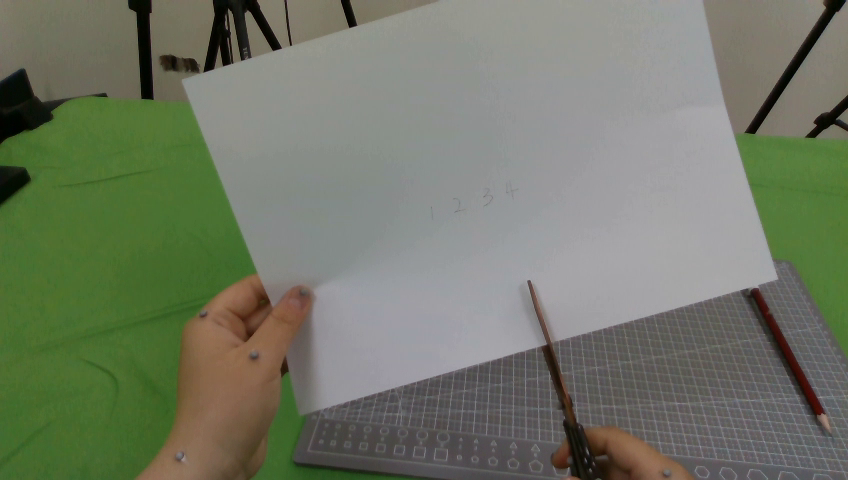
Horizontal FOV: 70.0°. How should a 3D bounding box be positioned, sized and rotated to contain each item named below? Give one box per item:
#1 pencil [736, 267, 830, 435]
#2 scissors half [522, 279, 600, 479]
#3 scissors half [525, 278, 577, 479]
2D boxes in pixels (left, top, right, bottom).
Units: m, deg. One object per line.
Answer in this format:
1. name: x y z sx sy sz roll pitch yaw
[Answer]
1. pencil: 0.315 0.090 0.538 0.012 0.012 0.192 2 39 2
2. scissors half: 0.084 0.104 0.347 0.013 0.040 0.174 -17 71 1
3. scissors half: 0.085 0.107 0.368 0.013 0.175 0.040 -16 4 -4
